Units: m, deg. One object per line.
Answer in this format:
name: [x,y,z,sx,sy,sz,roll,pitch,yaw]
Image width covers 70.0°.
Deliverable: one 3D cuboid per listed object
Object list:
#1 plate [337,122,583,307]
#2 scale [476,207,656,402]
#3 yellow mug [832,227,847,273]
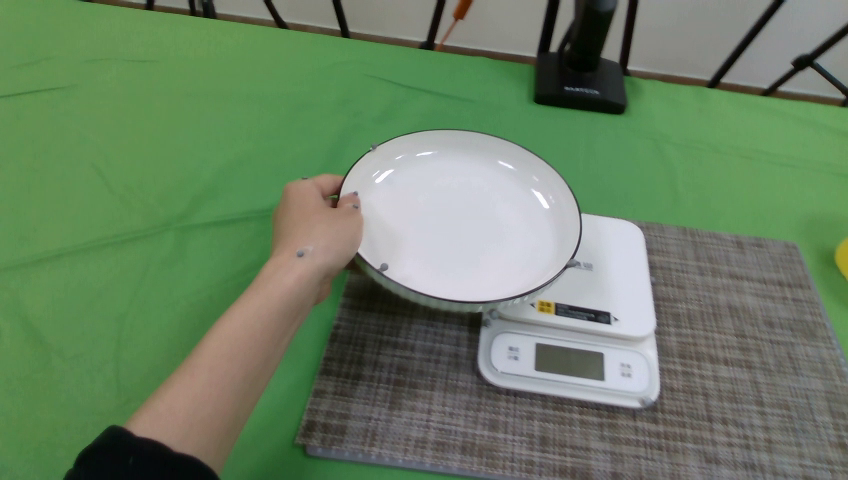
plate: [0.030,-0.024,0.523,0.209,0.038,0.207,3,49,-3]
scale: [0.127,0.044,0.546,0.148,0.032,0.199,9,47,2]
yellow mug: [0.484,0.013,0.593,0.100,0.064,0.129,-27,55,-26]
